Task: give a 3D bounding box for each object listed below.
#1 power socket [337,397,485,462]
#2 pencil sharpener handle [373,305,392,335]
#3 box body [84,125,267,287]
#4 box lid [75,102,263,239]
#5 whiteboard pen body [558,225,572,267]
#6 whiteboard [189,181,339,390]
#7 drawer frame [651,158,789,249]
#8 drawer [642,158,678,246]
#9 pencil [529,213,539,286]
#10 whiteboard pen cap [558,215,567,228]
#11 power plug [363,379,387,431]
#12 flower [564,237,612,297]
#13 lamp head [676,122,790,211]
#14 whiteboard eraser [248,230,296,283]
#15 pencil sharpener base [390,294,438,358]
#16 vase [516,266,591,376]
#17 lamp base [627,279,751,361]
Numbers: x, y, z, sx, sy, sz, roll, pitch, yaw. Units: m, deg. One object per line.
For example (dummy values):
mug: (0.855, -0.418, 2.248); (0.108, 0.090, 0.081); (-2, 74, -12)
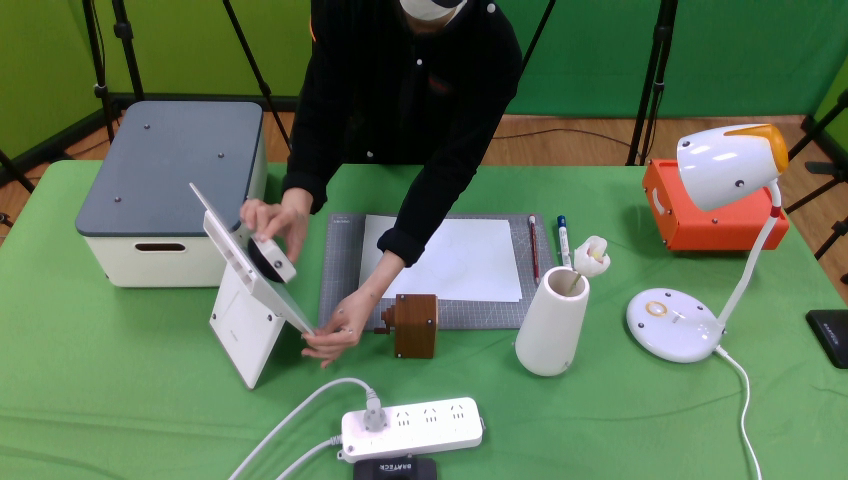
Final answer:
power socket: (-0.018, 0.285, 0.915); (0.227, 0.033, 0.071); (-5, 46, -8)
pencil sharpener handle: (-0.068, 0.133, 0.989); (0.030, 0.068, 0.036); (1, 46, -2)
box body: (-0.446, -0.088, 1.150); (0.254, 0.161, 0.361); (0, 46, -5)
box lid: (-0.442, -0.138, 1.094); (0.263, 0.015, 0.369); (-1, 47, -5)
whiteboard pen body: (0.280, 0.010, 1.207); (0.017, 0.017, 0.140); (3, 50, -1)
whiteboard: (-0.292, 0.096, 0.929); (0.144, 0.307, 0.216); (-37, 57, -10)
drawer frame: (0.571, -0.075, 1.214); (0.214, 0.083, 0.200); (0, 46, -1)
drawer: (0.566, -0.076, 1.211); (0.212, 0.073, 0.193); (2, 45, -2)
pencil: (0.219, 0.016, 1.204); (0.012, 0.012, 0.193); (5, 47, 0)
whiteboard pen cap: (0.284, -0.035, 1.245); (0.018, 0.018, 0.033); (4, 52, -1)
power plug: (-0.072, 0.252, 0.910); (0.035, 0.053, 0.072); (3, 45, -1)
flower: (0.206, 0.088, 0.893); (0.038, 0.363, 0.044); (-17, 67, -9)
lamp head: (0.423, -0.104, 0.819); (0.122, 0.113, 0.112); (-13, 33, 40)
whiteboard eraser: (-0.221, 0.024, 0.867); (0.042, 0.056, 0.112); (-40, 26, -9)
pencil sharpener base: (-0.018, 0.143, 1.000); (0.077, 0.107, 0.061); (1, 46, -2)
vase: (0.208, 0.132, 0.964); (0.098, 0.201, 0.097); (3, 46, -3)
lamp base: (0.460, 0.100, 1.027); (0.178, 0.181, 0.160); (27, 51, 17)
